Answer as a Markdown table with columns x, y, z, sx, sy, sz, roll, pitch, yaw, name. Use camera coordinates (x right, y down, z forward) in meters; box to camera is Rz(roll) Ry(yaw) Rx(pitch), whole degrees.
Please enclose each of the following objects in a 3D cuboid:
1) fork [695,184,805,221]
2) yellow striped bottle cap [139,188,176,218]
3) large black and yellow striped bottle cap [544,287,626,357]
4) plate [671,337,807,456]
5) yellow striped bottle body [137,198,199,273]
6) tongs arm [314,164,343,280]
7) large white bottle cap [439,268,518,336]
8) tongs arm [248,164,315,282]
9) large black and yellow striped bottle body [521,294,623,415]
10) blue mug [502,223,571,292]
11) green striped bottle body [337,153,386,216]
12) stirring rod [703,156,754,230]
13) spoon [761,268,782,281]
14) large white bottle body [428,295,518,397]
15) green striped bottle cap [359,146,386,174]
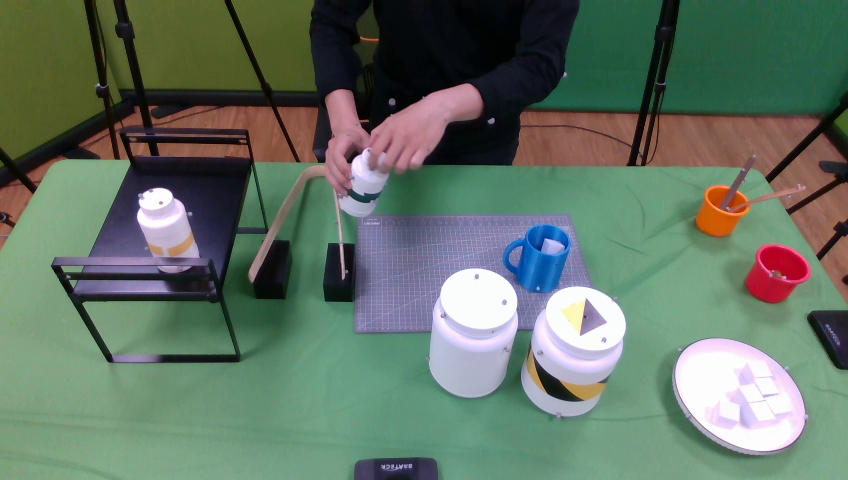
| x | y | z | sx | sy | sz | roll | pitch | yaw | name |
| --- | --- | --- | --- | --- | --- | --- | --- | --- | --- |
| 0.657 | -0.075 | 1.230 | 0.207 | 0.019 | 0.028 | -23 | 34 | 37 | fork |
| -0.363 | -0.051 | 0.826 | 0.044 | 0.019 | 0.044 | 1 | 47 | 0 | yellow striped bottle cap |
| 0.232 | 0.116 | 0.876 | 0.115 | 0.019 | 0.114 | 2 | 45 | -1 | large black and yellow striped bottle cap |
| 0.503 | 0.254 | 0.984 | 0.208 | 0.039 | 0.206 | 2 | 46 | -2 | plate |
| -0.366 | -0.014 | 0.864 | 0.063 | 0.121 | 0.062 | 2 | 46 | -2 | yellow striped bottle body |
| -0.188 | -0.049 | 1.170 | 0.051 | 0.026 | 0.382 | -5 | 35 | -6 | tongs arm |
| 0.080 | 0.089 | 0.888 | 0.115 | 0.018 | 0.114 | 2 | 47 | -2 | large white bottle cap |
| -0.270 | -0.047 | 1.165 | 0.028 | 0.028 | 0.385 | -1 | 34 | 7 | tongs arm |
| 0.228 | 0.173 | 0.938 | 0.131 | 0.185 | 0.130 | 2 | 47 | -2 | large black and yellow striped bottle body |
| 0.203 | 0.031 | 1.121 | 0.116 | 0.106 | 0.082 | 5 | 47 | 1 | blue mug |
| -0.102 | -0.099 | 1.008 | 0.063 | 0.119 | 0.063 | 11 | 51 | -14 | green striped bottle body |
| 0.631 | -0.098 | 1.258 | 0.014 | 0.006 | 0.176 | 33 | 95 | 28 | stirring rod |
| 0.638 | 0.060 | 1.105 | 0.041 | 0.021 | 0.194 | 38 | 11 | 24 | spoon |
| 0.075 | 0.147 | 0.950 | 0.131 | 0.185 | 0.130 | 2 | 47 | -2 | large white bottle body |
| -0.083 | -0.128 | 0.969 | 0.044 | 0.020 | 0.044 | 12 | 53 | -15 | green striped bottle cap |
